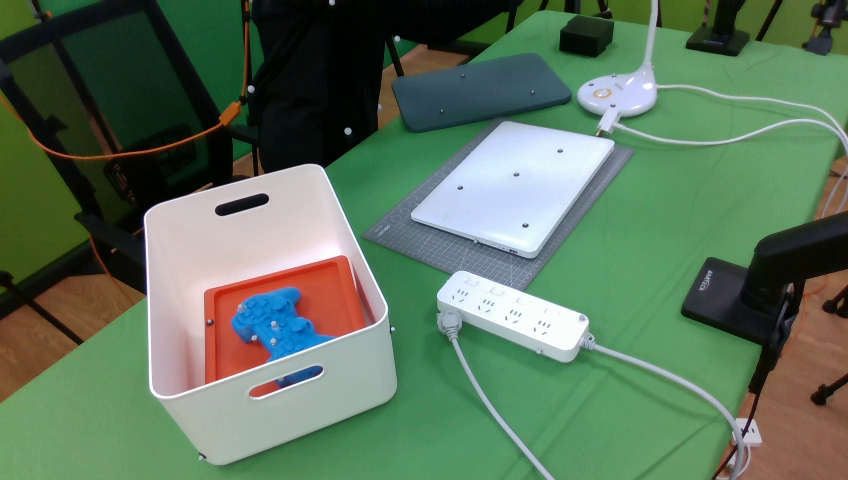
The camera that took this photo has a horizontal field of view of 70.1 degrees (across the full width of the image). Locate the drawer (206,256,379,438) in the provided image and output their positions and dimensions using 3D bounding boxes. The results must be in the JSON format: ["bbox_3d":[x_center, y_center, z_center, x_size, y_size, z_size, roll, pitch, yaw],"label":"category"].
[{"bbox_3d":[-0.177,0.130,0.787,0.195,0.073,0.210,-14,39,-9],"label":"drawer"}]

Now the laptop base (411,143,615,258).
[{"bbox_3d":[0.167,-0.102,1.074,0.234,0.023,0.355,16,45,30],"label":"laptop base"}]

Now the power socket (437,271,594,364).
[{"bbox_3d":[0.118,0.102,0.830,0.225,0.033,0.072,20,48,28],"label":"power socket"}]

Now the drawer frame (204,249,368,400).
[{"bbox_3d":[-0.174,0.129,0.790,0.202,0.083,0.212,-16,45,-8],"label":"drawer frame"}]

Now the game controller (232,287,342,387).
[{"bbox_3d":[-0.167,0.110,0.734,0.097,0.052,0.154,-34,47,-22],"label":"game controller"}]

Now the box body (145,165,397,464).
[{"bbox_3d":[-0.205,0.080,0.802,0.255,0.161,0.361,-18,41,-13],"label":"box body"}]

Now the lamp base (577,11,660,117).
[{"bbox_3d":[0.408,-0.365,1.222,0.180,0.181,0.159,-19,42,-19],"label":"lamp base"}]

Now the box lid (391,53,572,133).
[{"bbox_3d":[0.123,-0.339,1.366,0.372,0.015,0.261,-12,40,-5],"label":"box lid"}]

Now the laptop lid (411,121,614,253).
[{"bbox_3d":[0.164,-0.112,1.068,0.240,0.013,0.357,19,46,30],"label":"laptop lid"}]

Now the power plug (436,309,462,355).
[{"bbox_3d":[0.033,0.126,0.810,0.035,0.053,0.072,3,59,7],"label":"power plug"}]

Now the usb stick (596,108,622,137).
[{"bbox_3d":[0.355,-0.223,1.168,0.027,0.059,0.022,37,13,35],"label":"usb stick"}]
